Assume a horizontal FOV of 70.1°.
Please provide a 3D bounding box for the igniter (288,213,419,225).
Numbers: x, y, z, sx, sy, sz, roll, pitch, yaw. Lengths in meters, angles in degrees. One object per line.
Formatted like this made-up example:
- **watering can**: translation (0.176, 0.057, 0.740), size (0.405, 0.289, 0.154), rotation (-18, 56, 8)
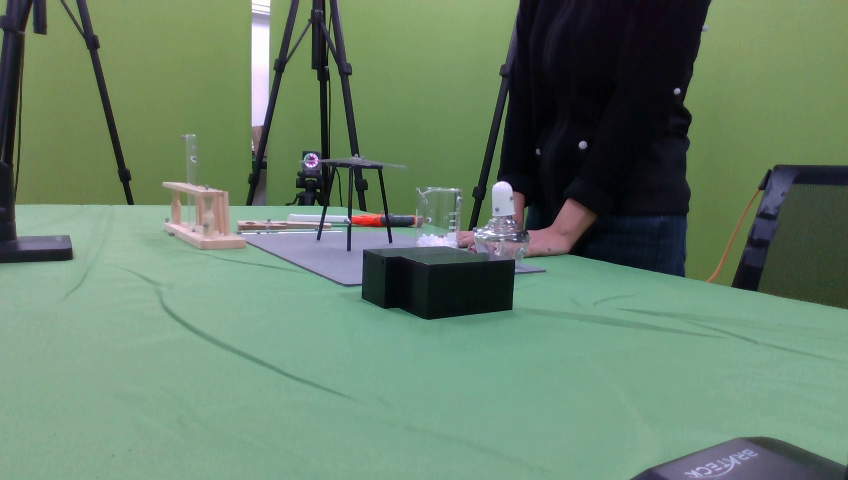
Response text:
- **igniter**: translation (-0.145, -0.044, 1.278), size (0.278, 0.025, 0.057), rotation (-1, -2, -21)

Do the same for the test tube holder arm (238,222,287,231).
- **test tube holder arm**: translation (-0.296, -0.024, 1.113), size (0.088, 0.015, 0.010), rotation (-2, 42, -32)

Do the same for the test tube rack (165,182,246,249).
- **test tube rack**: translation (-0.360, -0.045, 0.983), size (0.067, 0.085, 0.241), rotation (-3, 9, -34)

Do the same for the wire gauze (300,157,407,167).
- **wire gauze**: translation (-0.112, -0.125, 0.958), size (0.121, 0.011, 0.126), rotation (11, 11, 42)

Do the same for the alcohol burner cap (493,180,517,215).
- **alcohol burner cap**: translation (0.107, -0.057, 0.813), size (0.034, 0.048, 0.034), rotation (-6, 11, 2)

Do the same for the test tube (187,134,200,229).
- **test tube**: translation (-0.366, -0.092, 0.959), size (0.017, 0.150, 0.017), rotation (0, 3, 0)

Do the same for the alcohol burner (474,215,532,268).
- **alcohol burner**: translation (0.107, -0.022, 0.819), size (0.078, 0.119, 0.078), rotation (1, 9, 0)

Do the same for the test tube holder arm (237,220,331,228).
- **test tube holder arm**: translation (-0.260, -0.029, 1.141), size (0.179, 0.015, 0.013), rotation (-2, 42, -33)

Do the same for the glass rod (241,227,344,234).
- **glass rod**: translation (-0.239, -0.019, 1.119), size (0.201, 0.008, 0.008), rotation (-3, 9, -34)

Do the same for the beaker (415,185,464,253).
- **beaker**: translation (0.021, -0.033, 0.938), size (0.073, 0.100, 0.084), rotation (7, 9, 36)

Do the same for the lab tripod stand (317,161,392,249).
- **lab tripod stand**: translation (-0.111, -0.059, 0.964), size (0.148, 0.131, 0.148), rotation (4, 8, 0)
